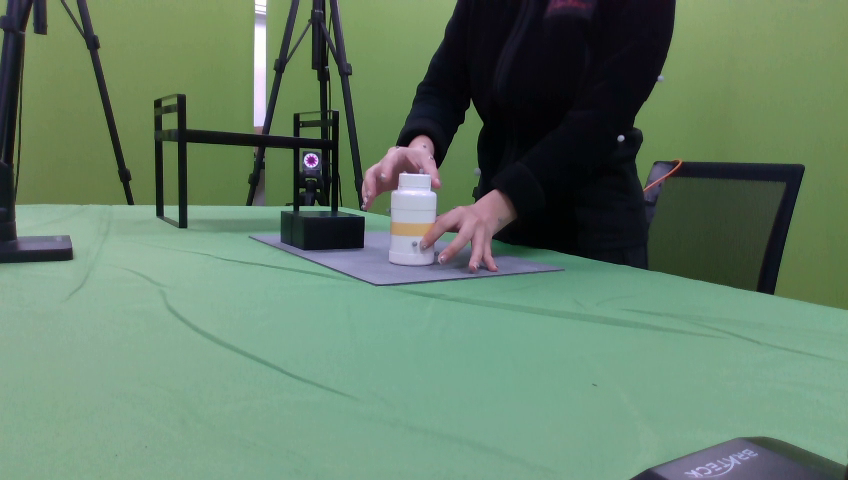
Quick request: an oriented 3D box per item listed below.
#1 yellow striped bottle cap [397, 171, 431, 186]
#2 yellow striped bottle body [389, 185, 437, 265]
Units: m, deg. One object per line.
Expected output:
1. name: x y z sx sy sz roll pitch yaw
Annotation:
1. yellow striped bottle cap: -0.013 -0.082 0.807 0.044 0.018 0.044 4 6 0
2. yellow striped bottle body: -0.015 -0.030 0.814 0.063 0.120 0.063 2 8 0
